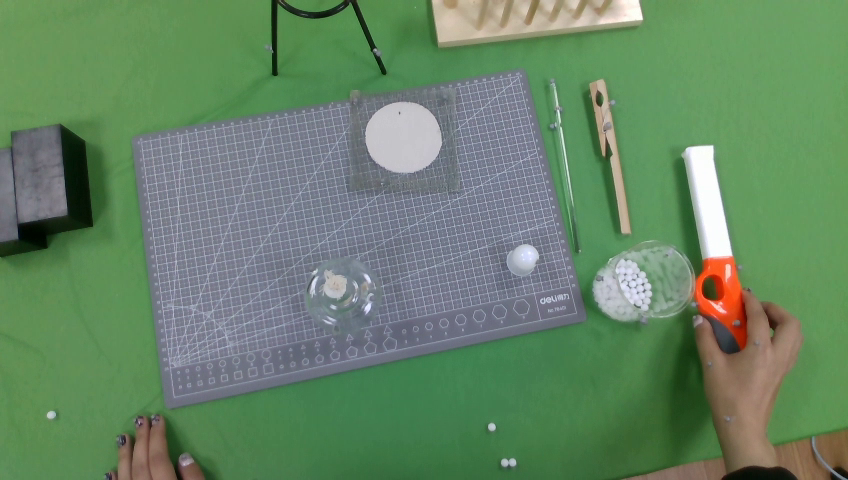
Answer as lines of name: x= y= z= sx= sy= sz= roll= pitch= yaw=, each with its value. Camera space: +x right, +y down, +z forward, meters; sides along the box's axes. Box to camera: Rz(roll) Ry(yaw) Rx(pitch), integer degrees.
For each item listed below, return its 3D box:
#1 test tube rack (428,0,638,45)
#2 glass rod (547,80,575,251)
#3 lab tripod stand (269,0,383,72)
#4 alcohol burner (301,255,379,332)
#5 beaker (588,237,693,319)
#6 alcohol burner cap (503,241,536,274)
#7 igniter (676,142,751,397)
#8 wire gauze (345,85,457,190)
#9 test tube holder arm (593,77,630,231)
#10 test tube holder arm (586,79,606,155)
test tube rack: x=0.129 y=-0.283 z=0.681 sx=0.242 sy=0.085 sz=0.066 roll=-7 pitch=79 yaw=-3
glass rod: x=0.155 y=-0.086 z=0.684 sx=0.008 sy=0.008 sz=0.199 roll=-6 pitch=82 yaw=-3
lab tripod stand: x=-0.112 y=-0.240 z=0.640 sx=0.148 sy=0.132 sz=0.148 roll=0 pitch=81 yaw=-2
alcohol burner: x=-0.085 y=0.050 z=0.594 sx=0.078 sy=0.119 sz=0.077 roll=0 pitch=78 yaw=0
beaker: x=0.212 y=0.042 z=0.617 sx=0.084 sy=0.100 sz=0.074 roll=20 pitch=79 yaw=3
alcohol burner cap: x=0.104 y=0.016 z=0.644 sx=0.034 sy=0.048 sz=0.033 roll=0 pitch=79 yaw=-2
igniter: x=0.310 y=0.027 z=0.652 sx=0.057 sy=0.025 sz=0.275 roll=-4 pitch=77 yaw=0
wire gauze: x=-0.026 y=-0.116 z=0.681 sx=0.125 sy=0.011 sz=0.121 roll=0 pitch=81 yaw=-3
test tube holder arm: x=0.211 y=-0.097 z=0.682 sx=0.013 sy=0.015 sz=0.177 roll=-15 pitch=79 yaw=29
test tube holder arm: x=0.199 y=-0.140 z=0.692 sx=0.010 sy=0.015 sz=0.087 roll=-14 pitch=80 yaw=30
